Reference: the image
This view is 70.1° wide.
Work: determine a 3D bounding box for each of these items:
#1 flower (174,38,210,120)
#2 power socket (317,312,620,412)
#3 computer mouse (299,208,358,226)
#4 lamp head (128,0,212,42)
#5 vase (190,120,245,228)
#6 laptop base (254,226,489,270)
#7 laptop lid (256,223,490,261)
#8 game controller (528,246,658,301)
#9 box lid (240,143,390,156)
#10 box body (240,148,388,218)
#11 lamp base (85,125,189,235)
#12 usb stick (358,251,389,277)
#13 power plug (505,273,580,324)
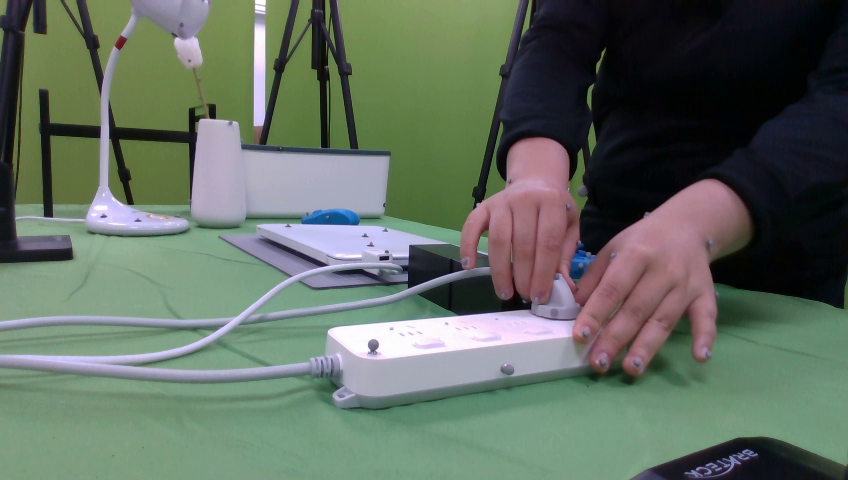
[{"bbox_3d":[-0.402,-0.207,1.140,0.038,0.361,0.044,-14,2,44],"label":"flower"},{"bbox_3d":[0.037,0.075,0.408,0.228,0.032,0.072,-1,8,-29],"label":"power socket"},{"bbox_3d":[-0.195,-0.045,1.240,0.117,0.041,0.063,0,9,12],"label":"computer mouse"},{"bbox_3d":[-0.423,-0.394,0.979,0.123,0.112,0.112,20,7,-3],"label":"lamp head"},{"bbox_3d":[-0.390,-0.123,1.142,0.098,0.200,0.098,3,9,0],"label":"vase"},{"bbox_3d":[-0.096,0.011,0.911,0.237,0.023,0.352,2,6,-32],"label":"laptop base"},{"bbox_3d":[-0.093,0.000,0.911,0.243,0.013,0.355,1,7,-30],"label":"laptop lid"},{"bbox_3d":[0.201,0.037,0.732,0.155,0.051,0.097,5,10,20],"label":"game controller"},{"bbox_3d":[-0.295,-0.217,1.463,0.373,0.015,0.262,-1,8,-29],"label":"box lid"},{"bbox_3d":[-0.297,-0.143,1.474,0.366,0.160,0.253,-1,9,-30],"label":"box body"},{"bbox_3d":[-0.498,-0.105,1.026,0.179,0.180,0.160,1,7,3],"label":"lamp base"},{"bbox_3d":[-0.062,0.027,0.707,0.021,0.027,0.059,-4,4,-28],"label":"usb stick"},{"bbox_3d":[0.092,0.052,0.469,0.035,0.052,0.072,-2,5,-14],"label":"power plug"}]
